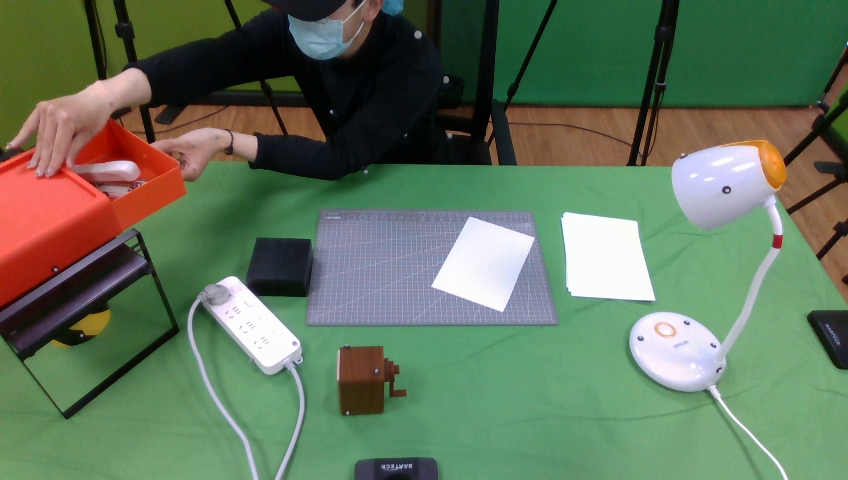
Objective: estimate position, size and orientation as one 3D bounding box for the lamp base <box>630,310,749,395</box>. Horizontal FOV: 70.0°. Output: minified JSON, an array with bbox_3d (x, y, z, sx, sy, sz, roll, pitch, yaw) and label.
[{"bbox_3d":[0.447,0.142,0.984,0.161,0.181,0.178,-24,55,-24],"label":"lamp base"}]

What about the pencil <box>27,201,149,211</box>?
[{"bbox_3d":[-0.527,-0.053,0.952,0.194,0.012,0.012,2,46,2],"label":"pencil"}]

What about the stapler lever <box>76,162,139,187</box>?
[{"bbox_3d":[-0.515,-0.107,0.977,0.118,0.040,0.026,6,44,10],"label":"stapler lever"}]

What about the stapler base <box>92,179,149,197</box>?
[{"bbox_3d":[-0.512,-0.092,0.992,0.130,0.024,0.041,4,43,13],"label":"stapler base"}]

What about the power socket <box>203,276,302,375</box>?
[{"bbox_3d":[-0.297,0.141,1.034,0.072,0.033,0.225,-34,58,-30],"label":"power socket"}]

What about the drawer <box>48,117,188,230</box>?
[{"bbox_3d":[-0.524,-0.088,0.958,0.193,0.073,0.211,31,52,23],"label":"drawer"}]

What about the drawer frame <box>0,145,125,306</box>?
[{"bbox_3d":[-0.596,-0.025,0.887,0.201,0.083,0.213,30,51,22],"label":"drawer frame"}]

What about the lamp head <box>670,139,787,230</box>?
[{"bbox_3d":[0.415,-0.079,0.812,0.113,0.123,0.112,12,70,-37],"label":"lamp head"}]

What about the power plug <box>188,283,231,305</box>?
[{"bbox_3d":[-0.368,0.099,1.037,0.072,0.053,0.035,-24,52,-25],"label":"power plug"}]

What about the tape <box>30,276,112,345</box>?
[{"bbox_3d":[-0.594,0.117,1.022,0.117,0.053,0.116,2,45,-2],"label":"tape"}]

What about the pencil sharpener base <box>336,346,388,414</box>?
[{"bbox_3d":[-0.094,0.215,0.927,0.077,0.107,0.061,-1,46,-6],"label":"pencil sharpener base"}]

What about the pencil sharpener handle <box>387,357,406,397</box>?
[{"bbox_3d":[-0.041,0.209,0.919,0.031,0.068,0.036,-1,25,-6],"label":"pencil sharpener handle"}]
